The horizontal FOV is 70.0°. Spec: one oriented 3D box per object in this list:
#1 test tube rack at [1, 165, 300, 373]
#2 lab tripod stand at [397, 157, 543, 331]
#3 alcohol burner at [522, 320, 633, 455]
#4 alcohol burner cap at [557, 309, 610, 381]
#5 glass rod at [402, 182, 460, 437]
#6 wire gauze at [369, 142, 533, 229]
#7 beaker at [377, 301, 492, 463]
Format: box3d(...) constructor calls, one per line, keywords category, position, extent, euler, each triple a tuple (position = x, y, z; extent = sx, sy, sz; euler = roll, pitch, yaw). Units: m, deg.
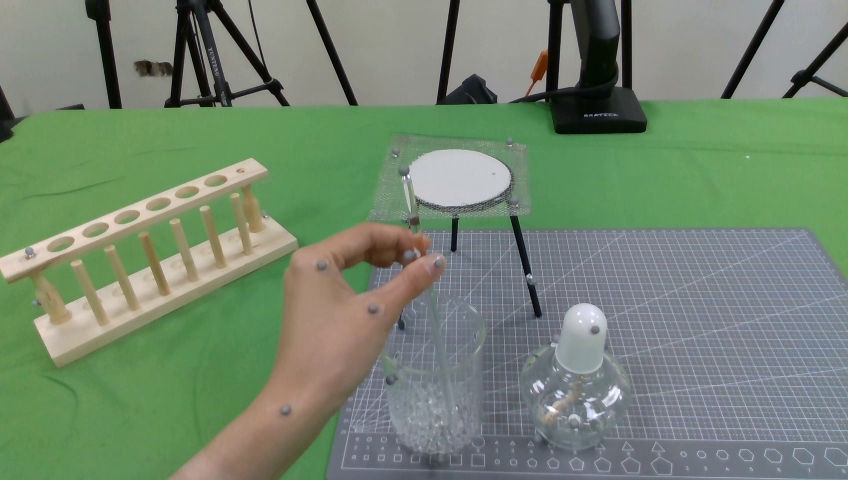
box3d(category="test tube rack", position=(-0.247, 0.019, 0.581), extent=(0.242, 0.086, 0.066), euler=(-29, 44, -29))
box3d(category="lab tripod stand", position=(0.037, 0.005, 0.531), extent=(0.148, 0.132, 0.147), euler=(-1, 36, 1))
box3d(category="alcohol burner", position=(0.108, 0.095, 0.422), extent=(0.078, 0.120, 0.077), euler=(-2, 40, 2))
box3d(category="alcohol burner cap", position=(0.107, 0.067, 0.400), extent=(0.034, 0.048, 0.033), euler=(0, 39, 0))
box3d(category="glass rod", position=(0.007, 0.054, 0.386), extent=(0.008, 0.201, 0.008), euler=(-8, 30, 5))
box3d(category="wire gauze", position=(0.025, -0.047, 0.489), extent=(0.121, 0.011, 0.124), euler=(2, 38, 6))
box3d(category="beaker", position=(0.007, 0.103, 0.433), extent=(0.074, 0.101, 0.083), euler=(-30, 44, -30))
